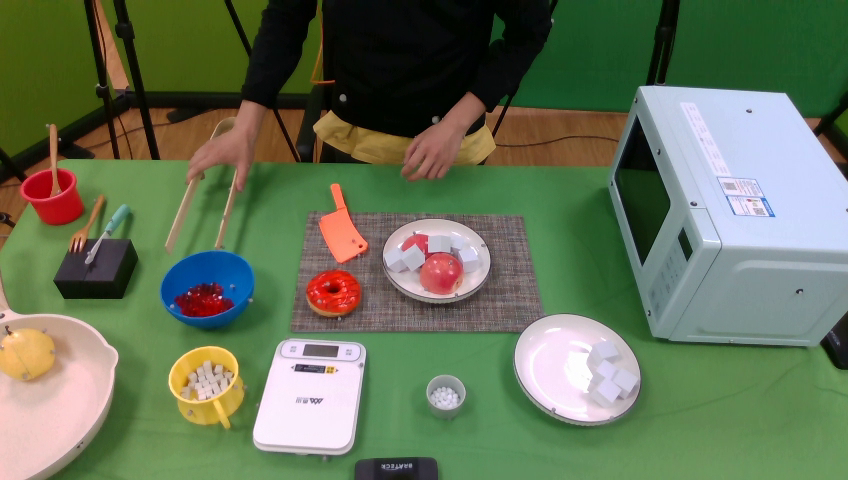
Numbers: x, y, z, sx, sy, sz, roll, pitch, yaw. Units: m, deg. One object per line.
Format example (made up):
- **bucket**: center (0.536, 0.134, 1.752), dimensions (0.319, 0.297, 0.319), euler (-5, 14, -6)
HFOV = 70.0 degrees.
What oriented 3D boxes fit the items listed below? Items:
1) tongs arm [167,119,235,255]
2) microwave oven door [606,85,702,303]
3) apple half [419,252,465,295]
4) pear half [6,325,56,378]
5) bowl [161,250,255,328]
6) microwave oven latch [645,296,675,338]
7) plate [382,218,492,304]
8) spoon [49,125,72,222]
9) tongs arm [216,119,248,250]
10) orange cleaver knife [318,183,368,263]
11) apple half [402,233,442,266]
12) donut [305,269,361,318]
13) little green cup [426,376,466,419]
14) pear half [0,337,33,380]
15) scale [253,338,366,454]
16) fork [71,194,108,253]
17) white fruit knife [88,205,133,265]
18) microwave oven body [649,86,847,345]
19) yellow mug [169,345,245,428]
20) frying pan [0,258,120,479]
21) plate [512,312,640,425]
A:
- **tongs arm**: center (-0.449, -0.121, 1.229), dimensions (0.028, 0.028, 0.385), euler (0, 47, 5)
- **microwave oven door**: center (0.422, -0.094, 1.140), dimensions (0.039, 0.245, 0.353), euler (2, 46, -1)
- **apple half**: center (0.035, 0.056, 1.109), dimensions (0.074, 0.053, 0.081), euler (37, 55, 25)
- **pear half**: center (-0.608, 0.158, 0.935), dimensions (0.076, 0.110, 0.056), euler (31, 51, 20)
- **bowl**: center (-0.362, 0.098, 1.039), dimensions (0.151, 0.077, 0.150), euler (2, 45, -2)
- **microwave oven latch**: center (0.412, 0.134, 1.061), dimensions (0.030, 0.029, 0.078), euler (3, 45, 0)
- **plate**: center (0.023, 0.042, 1.143), dimensions (0.209, 0.038, 0.208), euler (2, 46, -2)
- **spoon**: center (-0.718, -0.131, 1.189), dimensions (0.041, 0.021, 0.193), euler (-4, 90, -7)
- **tongs arm**: center (-0.399, -0.120, 1.230), dimensions (0.051, 0.026, 0.382), euler (0, 48, 0)
- **orange cleaver knife**: center (-0.173, -0.038, 1.218), dimensions (0.077, 0.012, 0.210), euler (-17, 51, -11)
- **apple half**: center (-0.004, 0.013, 1.160), dimensions (0.081, 0.033, 0.081), euler (5, 45, -5)
- **donut**: center (-0.160, 0.094, 1.075), dimensions (0.099, 0.048, 0.098), euler (3, 45, -3)
- **little green cup**: center (0.033, 0.248, 0.950), dimensions (0.061, 0.039, 0.061), euler (2, 46, -2)
- **pear half**: center (-0.630, 0.184, 0.921), dimensions (0.070, 0.088, 0.031), euler (29, 49, 19)
- **scale**: center (-0.175, 0.236, 0.951), dimensions (0.149, 0.032, 0.199), euler (4, 45, -1)
- **fork**: center (-0.634, -0.036, 1.158), dimensions (0.028, 0.019, 0.206), euler (-9, 32, -7)
- **white fruit knife**: center (-0.584, -0.013, 1.129), dimensions (0.016, 0.027, 0.206), euler (-1, 32, -5)
- **microwave oven body**: center (0.567, -0.053, 1.118), dimensions (0.326, 0.261, 0.439), euler (2, 45, -1)
- **yellow mug**: center (-0.322, 0.230, 0.922), dimensions (0.100, 0.064, 0.130), euler (-24, 53, -25)
- **frying pan**: center (-0.647, 0.164, 0.936), dimensions (0.307, 0.103, 0.485), euler (-19, 58, -22)
- **plate**: center (0.246, 0.213, 0.999), dimensions (0.208, 0.039, 0.206), euler (2, 46, -2)
